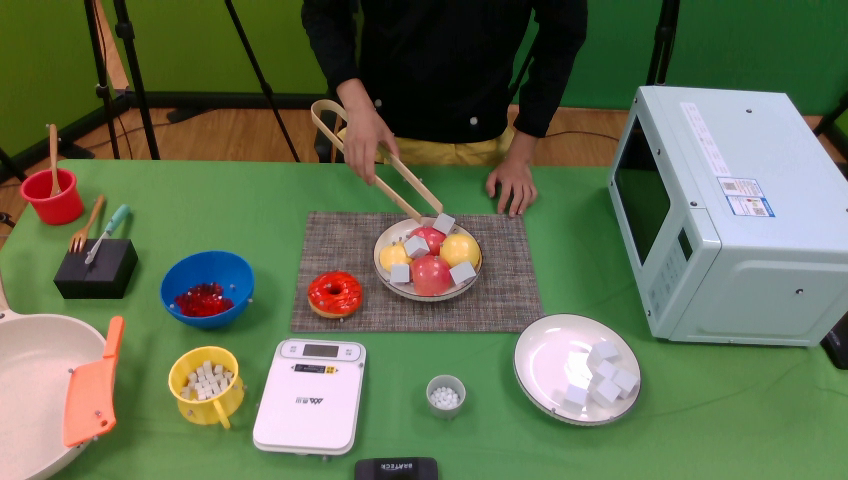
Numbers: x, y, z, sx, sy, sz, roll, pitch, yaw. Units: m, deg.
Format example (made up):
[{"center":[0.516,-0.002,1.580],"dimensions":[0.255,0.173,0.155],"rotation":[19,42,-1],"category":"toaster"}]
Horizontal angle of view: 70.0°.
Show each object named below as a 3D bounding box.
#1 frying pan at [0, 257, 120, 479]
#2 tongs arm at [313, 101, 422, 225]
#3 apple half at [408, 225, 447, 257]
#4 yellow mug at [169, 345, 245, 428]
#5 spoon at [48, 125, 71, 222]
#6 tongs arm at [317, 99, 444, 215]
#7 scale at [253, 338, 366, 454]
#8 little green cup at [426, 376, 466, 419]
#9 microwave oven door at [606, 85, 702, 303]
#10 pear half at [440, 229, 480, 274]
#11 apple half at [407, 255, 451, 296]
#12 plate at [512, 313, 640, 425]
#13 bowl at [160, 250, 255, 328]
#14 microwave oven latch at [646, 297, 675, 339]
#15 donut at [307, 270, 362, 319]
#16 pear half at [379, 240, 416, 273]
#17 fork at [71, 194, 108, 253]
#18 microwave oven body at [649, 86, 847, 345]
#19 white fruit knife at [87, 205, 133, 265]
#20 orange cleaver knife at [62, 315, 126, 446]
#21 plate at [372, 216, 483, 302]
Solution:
[{"center":[-0.647,0.164,0.937],"dimensions":[0.307,0.103,0.485],"rotation":[-19,58,-22],"category":"frying pan"},{"center":[-0.120,-0.156,1.182],"dimensions":[0.028,0.028,0.385],"rotation":[-31,59,-22],"category":"tongs arm"},{"center":[0.010,-0.006,1.176],"dimensions":[0.081,0.033,0.081],"rotation":[1,52,-1],"category":"apple half"},{"center":[-0.322,0.230,0.922],"dimensions":[0.100,0.064,0.130],"rotation":[-24,53,-25],"category":"yellow mug"},{"center":[-0.718,-0.131,1.188],"dimensions":[0.041,0.021,0.193],"rotation":[-3,90,-7],"category":"spoon"},{"center":[-0.095,-0.170,1.197],"dimensions":[0.051,0.026,0.382],"rotation":[-27,57,-25],"category":"tongs arm"},{"center":[-0.175,0.236,0.951],"dimensions":[0.149,0.032,0.199],"rotation":[4,45,0],"category":"scale"},{"center":[0.033,0.248,0.950],"dimensions":[0.061,0.039,0.061],"rotation":[2,46,-2],"category":"little green cup"},{"center":[0.422,-0.094,1.140],"dimensions":[0.039,0.245,0.353],"rotation":[2,46,-1],"category":"microwave oven door"},{"center":[0.065,0.007,1.150],"dimensions":[0.076,0.056,0.109],"rotation":[-10,42,-2],"category":"pear half"},{"center":[0.011,0.058,1.103],"dimensions":[0.075,0.053,0.080],"rotation":[-6,43,-13],"category":"apple half"},{"center":[0.246,0.213,0.999],"dimensions":[0.208,0.039,0.206],"rotation":[2,46,-2],"category":"plate"},{"center":[-0.362,0.098,1.040],"dimensions":[0.151,0.077,0.150],"rotation":[2,45,-2],"category":"bowl"},{"center":[0.412,0.134,1.061],"dimensions":[0.030,0.029,0.078],"rotation":[4,45,1],"category":"microwave oven latch"},{"center":[-0.158,0.097,1.073],"dimensions":[0.099,0.048,0.098],"rotation":[4,45,-4],"category":"donut"},{"center":[-0.048,0.024,1.146],"dimensions":[0.070,0.031,0.087],"rotation":[12,47,-11],"category":"pear half"},{"center":[-0.634,-0.036,1.158],"dimensions":[0.028,0.019,0.206],"rotation":[-8,32,-8],"category":"fork"},{"center":[0.567,-0.053,1.118],"dimensions":[0.326,0.261,0.439],"rotation":[2,45,-1],"category":"microwave oven body"},{"center":[-0.584,-0.013,1.129],"dimensions":[0.016,0.027,0.206],"rotation":[-1,32,-4],"category":"white fruit knife"},{"center":[-0.480,0.199,0.887],"dimensions":[0.077,0.012,0.210],"rotation":[-9,47,-8],"category":"orange cleaver knife"},{"center":[0.006,0.038,1.145],"dimensions":[0.209,0.038,0.208],"rotation":[2,46,-2],"category":"plate"}]
